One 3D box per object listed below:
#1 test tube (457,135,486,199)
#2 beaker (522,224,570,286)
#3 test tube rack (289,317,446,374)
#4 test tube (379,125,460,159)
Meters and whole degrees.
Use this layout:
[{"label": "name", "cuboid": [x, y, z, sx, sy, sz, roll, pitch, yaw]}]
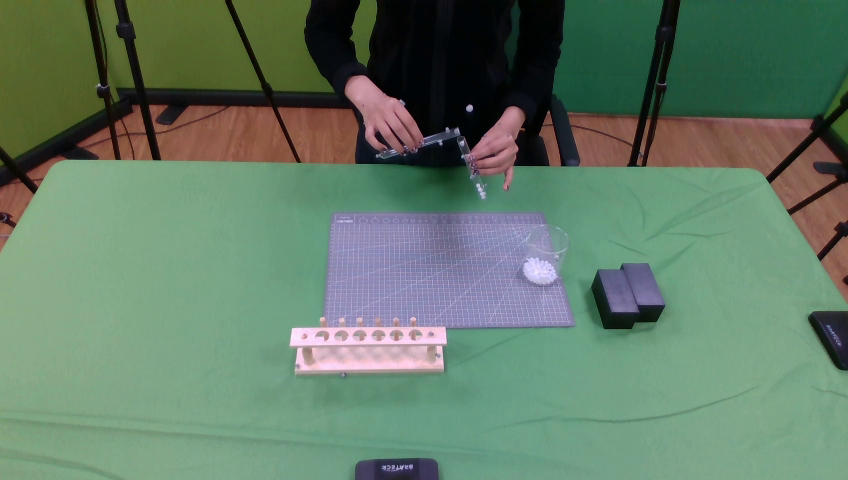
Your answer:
[{"label": "test tube", "cuboid": [0.089, -0.131, 1.116, 0.017, 0.151, 0.017, -14, 43, 14]}, {"label": "beaker", "cuboid": [0.221, 0.032, 1.129, 0.084, 0.101, 0.073, -6, 46, -9]}, {"label": "test tube rack", "cuboid": [-0.089, 0.167, 0.988, 0.242, 0.085, 0.066, 0, 46, -4]}, {"label": "test tube", "cuboid": [-0.009, -0.172, 1.069, 0.150, 0.017, 0.017, -17, 46, 9]}]
